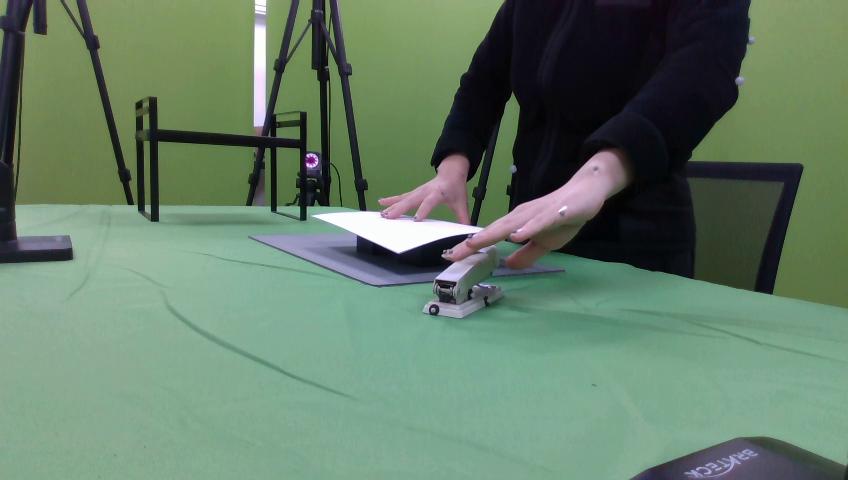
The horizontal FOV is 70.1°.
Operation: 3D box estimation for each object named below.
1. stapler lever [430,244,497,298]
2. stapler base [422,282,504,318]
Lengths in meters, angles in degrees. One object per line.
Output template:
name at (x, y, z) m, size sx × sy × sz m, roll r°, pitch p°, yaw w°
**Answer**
stapler lever at (0.043, 0.029, 0.601) m, size 0.026 × 0.040 × 0.118 m, roll 1°, pitch 6°, yaw 26°
stapler base at (0.043, 0.052, 0.606) m, size 0.041 × 0.024 × 0.131 m, roll 1°, pitch 7°, yaw 26°
